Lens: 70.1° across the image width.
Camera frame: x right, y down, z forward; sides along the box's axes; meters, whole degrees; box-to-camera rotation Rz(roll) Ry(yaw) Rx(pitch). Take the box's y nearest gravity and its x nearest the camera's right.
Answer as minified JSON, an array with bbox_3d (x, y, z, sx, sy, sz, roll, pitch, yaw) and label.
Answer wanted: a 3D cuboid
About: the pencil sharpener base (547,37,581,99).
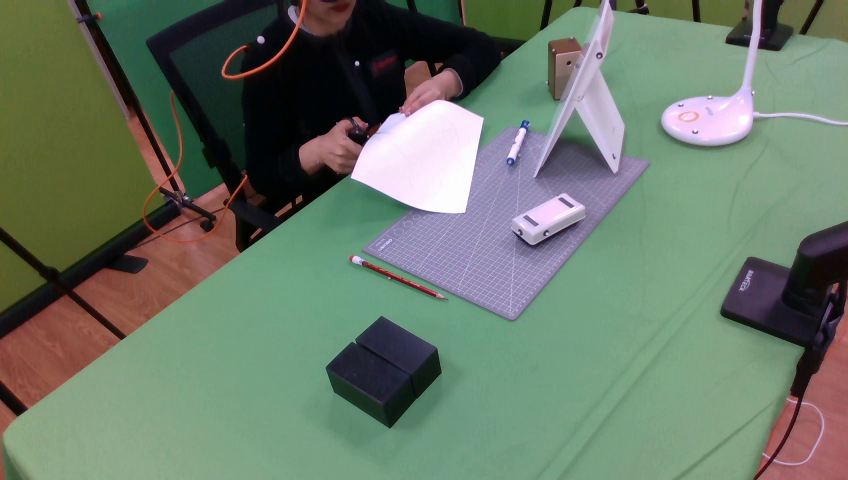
[{"bbox_3d":[0.299,-0.368,1.290,0.061,0.107,0.076,-8,40,2],"label":"pencil sharpener base"}]

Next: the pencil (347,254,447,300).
[{"bbox_3d":[-0.044,0.058,0.933,0.192,0.012,0.012,22,49,29],"label":"pencil"}]

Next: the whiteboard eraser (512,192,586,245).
[{"bbox_3d":[0.199,-0.032,0.962,0.113,0.042,0.055,-27,43,-20],"label":"whiteboard eraser"}]

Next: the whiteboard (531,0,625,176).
[{"bbox_3d":[0.320,-0.258,1.050,0.144,0.306,0.217,22,45,5],"label":"whiteboard"}]

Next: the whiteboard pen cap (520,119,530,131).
[{"bbox_3d":[0.200,-0.226,1.204,0.018,0.018,0.033,7,41,18],"label":"whiteboard pen cap"}]

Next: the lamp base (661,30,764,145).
[{"bbox_3d":[0.535,-0.287,1.096,0.179,0.181,0.159,-10,40,-4],"label":"lamp base"}]

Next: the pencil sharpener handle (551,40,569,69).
[{"bbox_3d":[0.291,-0.409,1.321,0.036,0.068,0.030,2,40,-6],"label":"pencil sharpener handle"}]

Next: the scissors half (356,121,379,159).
[{"bbox_3d":[-0.107,-0.195,1.175,0.013,0.175,0.040,-31,86,-20],"label":"scissors half"}]

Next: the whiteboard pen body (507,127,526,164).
[{"bbox_3d":[0.181,-0.189,1.163,0.017,0.017,0.140,7,42,19],"label":"whiteboard pen body"}]

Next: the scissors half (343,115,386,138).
[{"bbox_3d":[-0.117,-0.216,1.169,0.013,0.040,0.173,-35,35,-18],"label":"scissors half"}]
